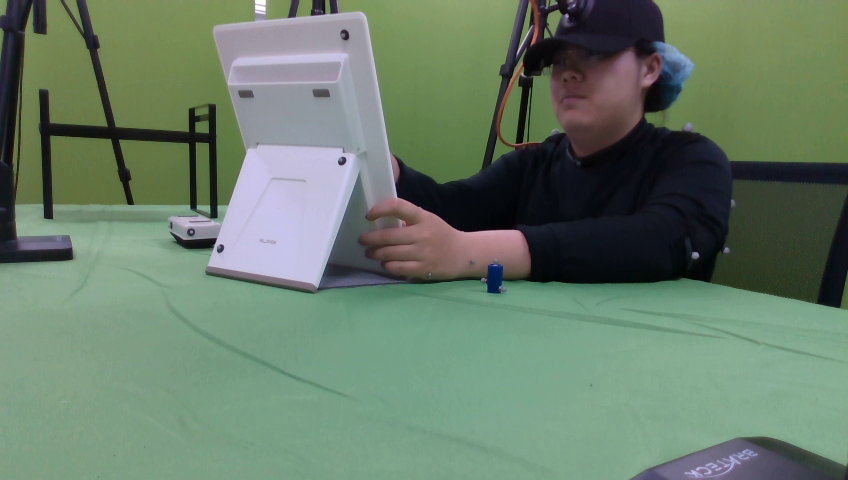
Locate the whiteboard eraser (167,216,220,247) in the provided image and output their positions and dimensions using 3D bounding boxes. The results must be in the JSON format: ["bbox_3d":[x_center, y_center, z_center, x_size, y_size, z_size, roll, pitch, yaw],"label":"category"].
[{"bbox_3d":[-0.350,-0.013,0.920,0.056,0.042,0.112,0,7,-35],"label":"whiteboard eraser"}]

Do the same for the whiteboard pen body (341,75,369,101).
[{"bbox_3d":[-0.091,-0.197,0.789,0.017,0.017,0.140,3,24,5],"label":"whiteboard pen body"}]

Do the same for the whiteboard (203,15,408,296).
[{"bbox_3d":[-0.166,-0.072,0.669,0.216,0.305,0.144,8,30,30],"label":"whiteboard"}]

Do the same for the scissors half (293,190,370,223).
[{"bbox_3d":[-0.205,-0.078,1.338,0.175,0.040,0.013,22,12,-8],"label":"scissors half"}]

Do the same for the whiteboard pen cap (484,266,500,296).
[{"bbox_3d":[0.075,0.046,0.668,0.018,0.033,0.018,3,6,0],"label":"whiteboard pen cap"}]

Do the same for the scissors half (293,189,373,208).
[{"bbox_3d":[-0.201,-0.096,1.332,0.175,0.040,0.013,5,19,-4],"label":"scissors half"}]
